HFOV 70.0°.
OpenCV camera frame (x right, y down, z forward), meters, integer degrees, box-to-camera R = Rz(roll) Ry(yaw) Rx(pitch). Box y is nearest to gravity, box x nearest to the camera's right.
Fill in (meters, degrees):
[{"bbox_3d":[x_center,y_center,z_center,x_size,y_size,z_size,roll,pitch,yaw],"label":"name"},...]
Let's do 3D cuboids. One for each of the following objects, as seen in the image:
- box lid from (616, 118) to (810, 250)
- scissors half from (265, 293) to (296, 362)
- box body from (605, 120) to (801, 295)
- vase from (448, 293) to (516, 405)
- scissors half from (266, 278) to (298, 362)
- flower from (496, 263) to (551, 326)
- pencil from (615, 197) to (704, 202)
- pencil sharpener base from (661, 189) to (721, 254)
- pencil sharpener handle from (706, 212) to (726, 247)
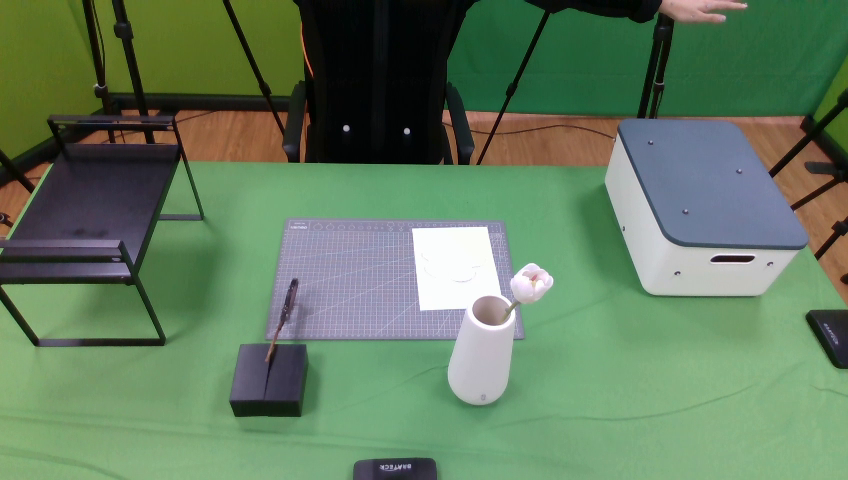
[{"bbox_3d":[0.533,-0.118,1.151,0.263,0.015,0.369,1,45,-4],"label":"box lid"},{"bbox_3d":[-0.239,0.143,1.004,0.013,0.040,0.174,17,28,-6],"label":"scissors half"},{"bbox_3d":[0.529,-0.068,1.205,0.254,0.161,0.361,1,46,-4],"label":"box body"},{"bbox_3d":[0.091,0.169,0.921,0.098,0.201,0.097,3,47,-3],"label":"vase"},{"bbox_3d":[-0.234,0.127,0.993,0.013,0.040,0.174,12,46,-3],"label":"scissors half"},{"bbox_3d":[0.102,0.120,0.853,0.044,0.363,0.038,-1,64,-10],"label":"flower"},{"bbox_3d":[0.512,-0.090,1.322,0.194,0.012,0.012,1,46,0],"label":"pencil"},{"bbox_3d":[0.531,-0.034,1.201,0.076,0.107,0.061,28,51,21],"label":"pencil sharpener base"},{"bbox_3d":[0.573,-0.019,1.174,0.030,0.068,0.036,28,44,21],"label":"pencil sharpener handle"}]
